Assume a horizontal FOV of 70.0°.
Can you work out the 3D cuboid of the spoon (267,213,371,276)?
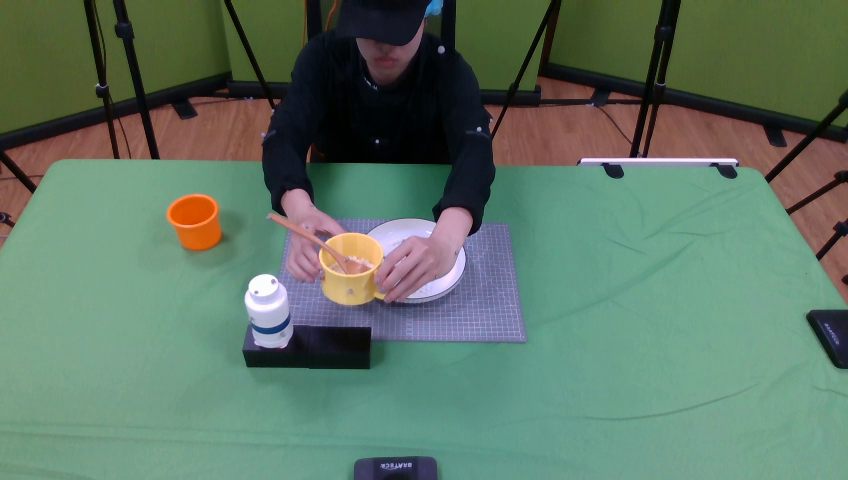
[{"bbox_3d":[-0.157,0.011,0.937,0.194,0.021,0.041,36,39,-12],"label":"spoon"}]

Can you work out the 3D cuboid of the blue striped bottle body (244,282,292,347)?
[{"bbox_3d":[-0.241,0.108,0.937,0.063,0.121,0.062,2,47,-2],"label":"blue striped bottle body"}]

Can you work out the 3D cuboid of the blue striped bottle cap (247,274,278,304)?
[{"bbox_3d":[-0.240,0.072,0.900,0.044,0.021,0.044,4,46,-4],"label":"blue striped bottle cap"}]

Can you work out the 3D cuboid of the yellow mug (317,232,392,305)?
[{"bbox_3d":[-0.102,0.050,0.946,0.130,0.064,0.100,29,49,23],"label":"yellow mug"}]

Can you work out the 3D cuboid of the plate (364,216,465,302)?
[{"bbox_3d":[-0.026,0.039,1.144,0.208,0.039,0.206,2,46,-2],"label":"plate"}]
